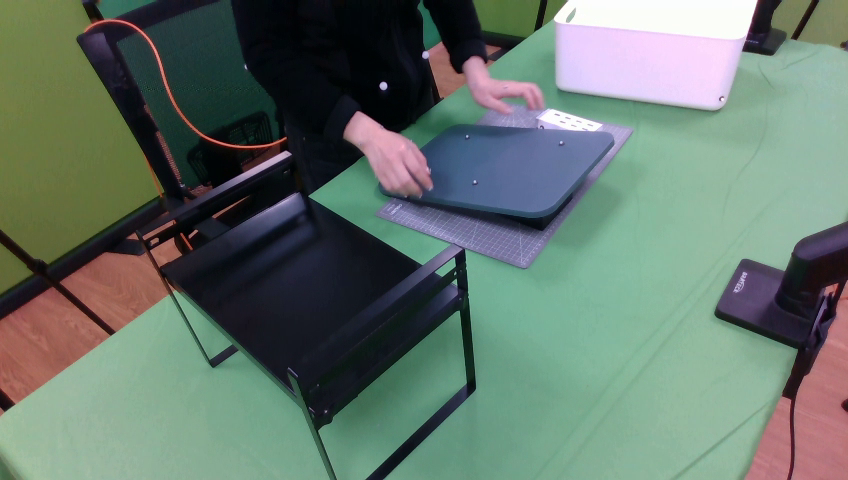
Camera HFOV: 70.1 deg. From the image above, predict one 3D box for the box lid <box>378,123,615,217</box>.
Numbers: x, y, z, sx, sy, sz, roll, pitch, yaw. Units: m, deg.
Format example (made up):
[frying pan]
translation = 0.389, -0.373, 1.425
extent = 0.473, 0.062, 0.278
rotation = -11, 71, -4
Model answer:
[box lid]
translation = 0.118, -0.136, 1.072
extent = 0.368, 0.015, 0.264
rotation = 13, 42, 39

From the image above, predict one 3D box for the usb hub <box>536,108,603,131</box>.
[usb hub]
translation = 0.284, -0.224, 1.188
extent = 0.124, 0.025, 0.049
rotation = 28, 52, 35

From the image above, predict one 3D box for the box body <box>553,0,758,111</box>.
[box body]
translation = 0.481, -0.416, 1.281
extent = 0.362, 0.161, 0.254
rotation = 15, 46, 24
